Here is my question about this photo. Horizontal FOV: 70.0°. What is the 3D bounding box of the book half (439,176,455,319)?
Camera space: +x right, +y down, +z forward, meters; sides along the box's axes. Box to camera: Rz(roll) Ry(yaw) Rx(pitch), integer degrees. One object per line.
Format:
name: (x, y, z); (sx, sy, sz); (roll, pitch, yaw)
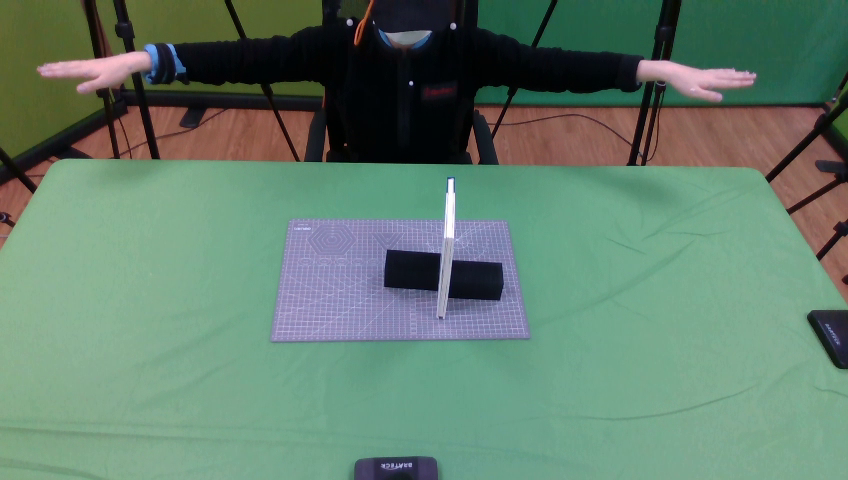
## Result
book half: (0.038, 0.017, 1.047); (0.016, 0.211, 0.147); (3, 46, 0)

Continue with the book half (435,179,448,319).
book half: (0.031, 0.019, 1.045); (0.007, 0.211, 0.142); (4, 46, 1)
